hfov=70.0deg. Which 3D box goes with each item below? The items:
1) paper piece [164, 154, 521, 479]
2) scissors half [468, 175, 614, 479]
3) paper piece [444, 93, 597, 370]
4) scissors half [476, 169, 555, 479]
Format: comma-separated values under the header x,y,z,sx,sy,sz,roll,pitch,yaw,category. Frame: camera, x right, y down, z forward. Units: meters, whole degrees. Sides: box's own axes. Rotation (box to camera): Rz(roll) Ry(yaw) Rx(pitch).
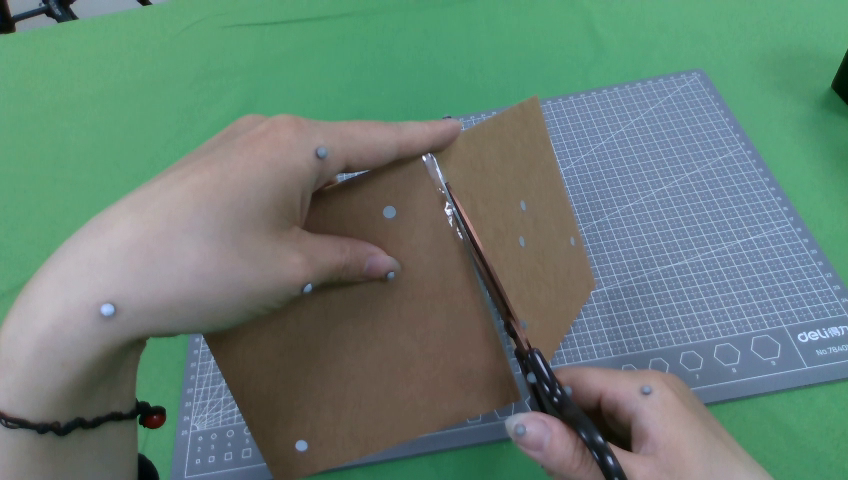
x,y,z,sx,sy,sz,roll,pitch,yaw,category
-0.037,0.044,0.295,0.138,0.136,0.008,-20,8,6,paper piece
0.050,0.049,0.271,0.013,0.040,0.174,-15,75,-19,scissors half
0.065,-0.008,0.343,0.004,0.136,0.135,-12,14,34,paper piece
0.044,0.052,0.292,0.013,0.176,0.040,-15,12,-14,scissors half
